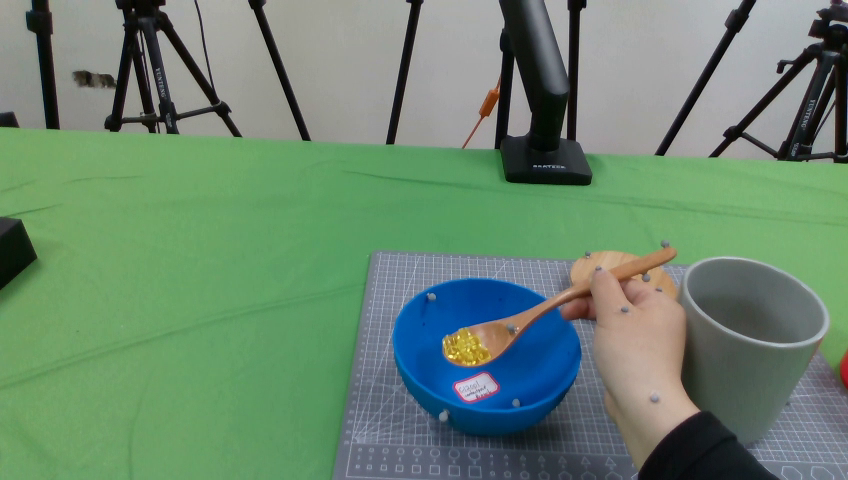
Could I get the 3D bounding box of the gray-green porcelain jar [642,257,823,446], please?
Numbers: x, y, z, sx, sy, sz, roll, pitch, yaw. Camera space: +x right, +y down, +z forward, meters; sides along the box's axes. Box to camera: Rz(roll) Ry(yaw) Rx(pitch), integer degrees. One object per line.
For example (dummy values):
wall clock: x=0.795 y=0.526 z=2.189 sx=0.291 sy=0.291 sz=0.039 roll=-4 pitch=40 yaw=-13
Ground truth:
gray-green porcelain jar: x=0.241 y=0.094 z=0.493 sx=0.106 sy=0.127 sz=0.105 roll=2 pitch=36 yaw=-1

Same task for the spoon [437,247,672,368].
spoon: x=0.100 y=0.050 z=0.466 sx=0.194 sy=0.022 sz=0.041 roll=-28 pitch=36 yaw=7

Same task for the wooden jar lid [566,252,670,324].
wooden jar lid: x=0.204 y=0.051 z=0.643 sx=0.108 sy=0.021 sz=0.107 roll=2 pitch=34 yaw=-1

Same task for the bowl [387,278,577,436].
bowl: x=0.044 y=0.108 z=0.501 sx=0.151 sy=0.077 sz=0.150 roll=2 pitch=36 yaw=-1
